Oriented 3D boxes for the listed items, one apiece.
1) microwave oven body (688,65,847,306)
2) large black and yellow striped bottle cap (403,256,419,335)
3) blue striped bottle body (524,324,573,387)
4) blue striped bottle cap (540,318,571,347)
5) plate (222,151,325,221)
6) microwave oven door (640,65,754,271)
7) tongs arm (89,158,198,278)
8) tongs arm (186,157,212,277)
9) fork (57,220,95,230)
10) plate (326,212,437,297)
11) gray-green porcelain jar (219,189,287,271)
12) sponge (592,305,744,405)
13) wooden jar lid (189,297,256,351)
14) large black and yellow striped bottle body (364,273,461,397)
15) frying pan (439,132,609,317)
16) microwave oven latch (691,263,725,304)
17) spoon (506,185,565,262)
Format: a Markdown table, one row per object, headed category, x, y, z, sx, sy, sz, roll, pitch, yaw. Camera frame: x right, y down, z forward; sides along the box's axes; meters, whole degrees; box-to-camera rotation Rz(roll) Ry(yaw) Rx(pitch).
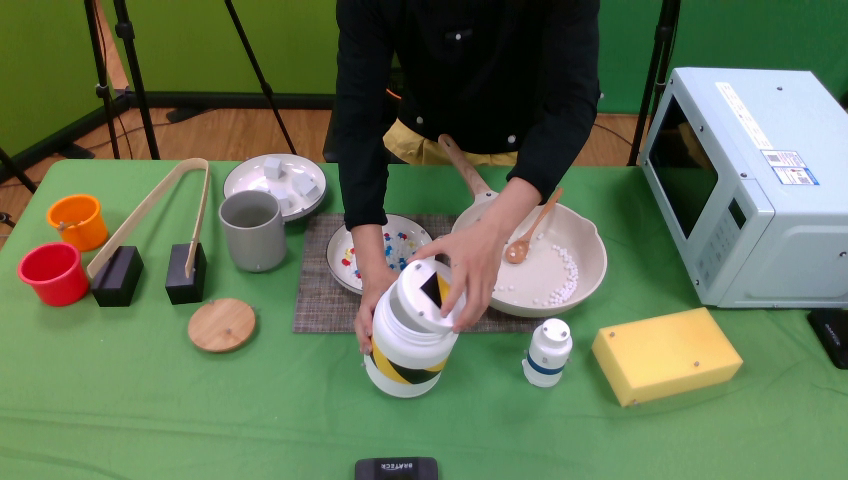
| category | x | y | z | sx | sy | sz | roll | pitch | yaw |
| --- | --- | --- | --- | --- | --- | --- | --- | --- | --- |
| microwave oven body | 0.669 | -0.111 | 1.176 | 0.326 | 0.261 | 0.439 | 0 | 46 | -3 |
| large black and yellow striped bottle cap | -0.019 | 0.080 | 0.859 | 0.019 | 0.115 | 0.114 | -1 | 47 | -4 |
| blue striped bottle body | 0.200 | 0.178 | 0.970 | 0.063 | 0.121 | 0.062 | 2 | 46 | -1 |
| blue striped bottle cap | 0.203 | 0.142 | 0.933 | 0.044 | 0.021 | 0.044 | 3 | 49 | -4 |
| plate | -0.310 | -0.106 | 1.262 | 0.208 | 0.039 | 0.206 | 2 | 47 | -2 |
| microwave oven door | 0.524 | -0.148 | 1.193 | 0.039 | 0.245 | 0.353 | 0 | 47 | -3 |
| tongs arm | -0.529 | -0.057 | 1.164 | 0.028 | 0.028 | 0.385 | 1 | 36 | 8 |
| tongs arm | -0.445 | -0.058 | 1.168 | 0.051 | 0.026 | 0.382 | -5 | 37 | -6 |
| fork | -0.624 | -0.027 | 1.086 | 0.028 | 0.207 | 0.018 | -3 | 92 | -17 |
| plate | -0.080 | 0.030 | 1.143 | 0.209 | 0.038 | 0.208 | 3 | 46 | -3 |
| gray-green porcelain jar | -0.310 | -0.014 | 1.113 | 0.106 | 0.127 | 0.105 | 2 | 46 | -2 |
| sponge | 0.405 | 0.190 | 1.015 | 0.207 | 0.061 | 0.117 | -10 | 48 | -13 |
| wooden jar lid | -0.342 | 0.145 | 1.033 | 0.108 | 0.021 | 0.107 | 3 | 45 | -2 |
| large black and yellow striped bottle body | -0.018 | 0.146 | 0.930 | 0.131 | 0.185 | 0.130 | 7 | 51 | -8 |
| frying pan | 0.149 | -0.049 | 1.189 | 0.307 | 0.103 | 0.484 | -17 | 58 | -20 |
| microwave oven latch | 0.521 | 0.081 | 1.116 | 0.030 | 0.029 | 0.078 | 0 | 46 | -3 |
| spoon | 0.224 | -0.034 | 1.188 | 0.041 | 0.022 | 0.193 | 31 | 79 | 28 |
